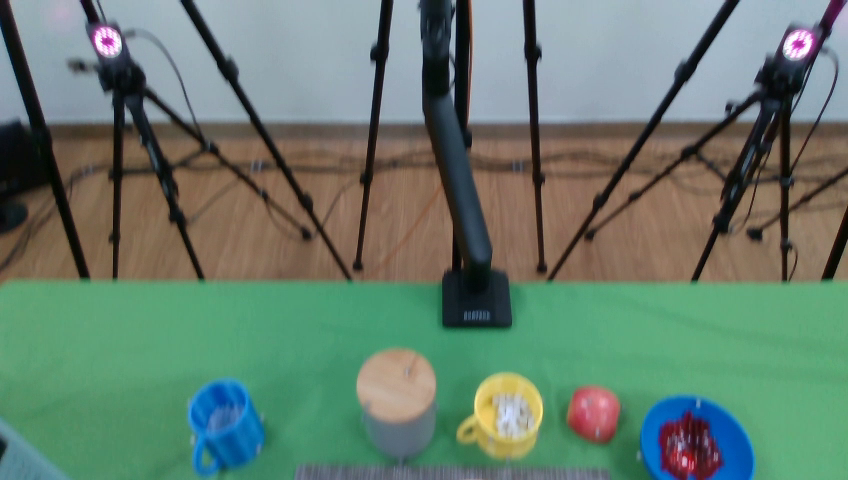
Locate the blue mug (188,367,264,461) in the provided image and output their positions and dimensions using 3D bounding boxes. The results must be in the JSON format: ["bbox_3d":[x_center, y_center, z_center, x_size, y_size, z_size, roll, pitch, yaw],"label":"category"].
[{"bbox_3d":[-0.289,0.257,0.863,0.082,0.107,0.116,17,52,14],"label":"blue mug"}]

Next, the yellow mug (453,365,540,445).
[{"bbox_3d":[0.104,0.249,0.895,0.131,0.064,0.099,-17,51,-13],"label":"yellow mug"}]

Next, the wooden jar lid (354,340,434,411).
[{"bbox_3d":[-0.040,0.186,0.825,0.108,0.021,0.107,1,47,-1],"label":"wooden jar lid"}]

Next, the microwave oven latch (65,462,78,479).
[{"bbox_3d":[-0.494,0.340,0.812,0.030,0.030,0.078,4,50,3],"label":"microwave oven latch"}]

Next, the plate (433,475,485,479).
[{"bbox_3d":[0.046,0.409,0.771,0.208,0.039,0.205,0,50,0],"label":"plate"}]

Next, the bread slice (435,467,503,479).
[{"bbox_3d":[0.052,0.337,0.714,0.105,0.019,0.130,-5,63,4],"label":"bread slice"}]

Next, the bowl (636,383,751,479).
[{"bbox_3d":[0.367,0.287,0.852,0.151,0.077,0.150,0,50,1],"label":"bowl"}]

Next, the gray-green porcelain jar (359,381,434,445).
[{"bbox_3d":[-0.038,0.227,0.874,0.106,0.127,0.105,0,49,0],"label":"gray-green porcelain jar"}]

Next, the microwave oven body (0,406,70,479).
[{"bbox_3d":[-0.648,0.409,0.627,0.326,0.262,0.437,1,50,1],"label":"microwave oven body"}]

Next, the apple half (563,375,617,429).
[{"bbox_3d":[0.252,0.237,0.913,0.074,0.054,0.080,17,52,17],"label":"apple half"}]
